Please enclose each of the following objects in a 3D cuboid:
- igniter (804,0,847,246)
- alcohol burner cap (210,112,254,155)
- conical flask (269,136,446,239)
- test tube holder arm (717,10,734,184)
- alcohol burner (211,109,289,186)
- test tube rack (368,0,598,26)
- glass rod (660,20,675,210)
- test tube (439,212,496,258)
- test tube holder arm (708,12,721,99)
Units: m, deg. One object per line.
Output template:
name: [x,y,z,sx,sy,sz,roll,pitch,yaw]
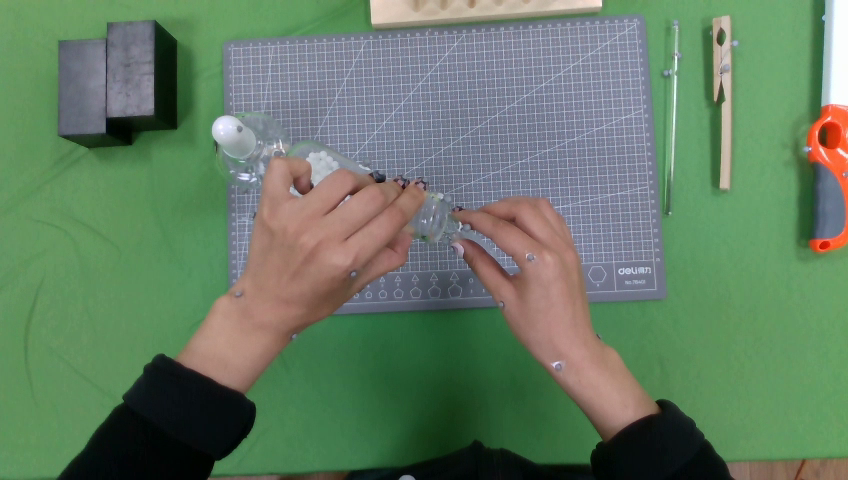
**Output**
igniter: [0.414,-0.130,0.613,0.057,0.025,0.276,6,86,-7]
alcohol burner cap: [-0.177,-0.099,0.553,0.034,0.048,0.033,0,81,-1]
conical flask: [-0.046,-0.031,0.450,0.121,0.076,0.075,13,86,17]
test tube holder arm: [0.308,-0.147,0.622,0.013,0.015,0.178,-5,84,39]
alcohol burner: [-0.175,-0.095,0.589,0.078,0.119,0.077,0,85,5]
test tube rack: [0.058,-0.275,0.610,0.242,0.085,0.066,-4,85,2]
glass rod: [0.253,-0.130,0.629,0.008,0.008,0.199,3,88,2]
test tube: [0.040,-0.001,0.521,0.017,0.151,0.017,-3,79,17]
test tube holder arm: [0.303,-0.191,0.628,0.010,0.015,0.087,-3,85,39]
